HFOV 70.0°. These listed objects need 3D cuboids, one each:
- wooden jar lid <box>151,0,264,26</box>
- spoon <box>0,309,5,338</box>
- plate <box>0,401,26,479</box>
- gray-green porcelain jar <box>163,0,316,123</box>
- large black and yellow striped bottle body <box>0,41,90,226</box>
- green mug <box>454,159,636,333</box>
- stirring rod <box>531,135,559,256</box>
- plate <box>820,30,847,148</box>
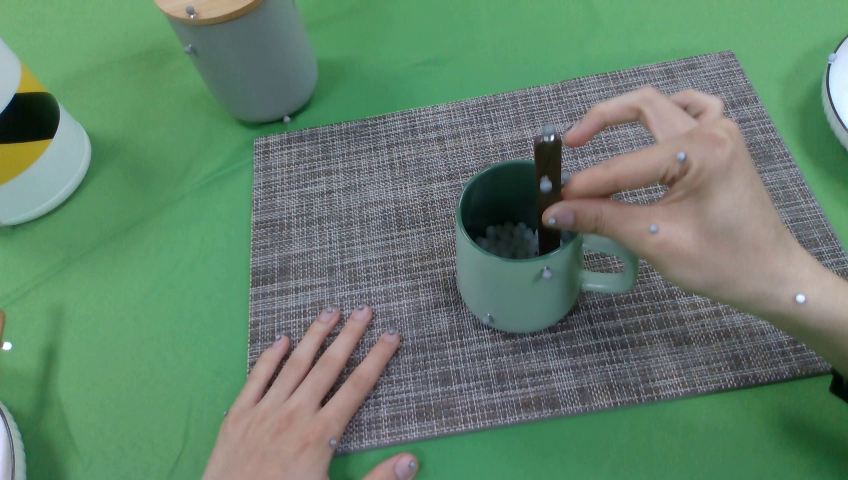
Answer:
[{"bbox_3d":[-0.169,-0.211,0.498,0.108,0.021,0.107,-3,62,6],"label":"wooden jar lid"},{"bbox_3d":[-0.313,0.137,0.420,0.041,0.022,0.192,-8,67,2],"label":"spoon"},{"bbox_3d":[-0.368,0.196,0.412,0.209,0.038,0.207,-3,59,6],"label":"plate"},{"bbox_3d":[-0.161,-0.179,0.551,0.106,0.127,0.105,-3,59,6],"label":"gray-green porcelain jar"},{"bbox_3d":[-0.394,-0.110,0.508,0.130,0.185,0.129,-3,59,6],"label":"large black and yellow striped bottle body"},{"bbox_3d":[0.081,0.009,0.415,0.125,0.106,0.092,10,61,13],"label":"green mug"},{"bbox_3d":[0.075,-0.008,0.368,0.014,0.178,0.005,-15,61,4],"label":"stirring rod"},{"bbox_3d":[0.423,-0.105,0.477,0.207,0.039,0.206,-4,59,6],"label":"plate"}]
